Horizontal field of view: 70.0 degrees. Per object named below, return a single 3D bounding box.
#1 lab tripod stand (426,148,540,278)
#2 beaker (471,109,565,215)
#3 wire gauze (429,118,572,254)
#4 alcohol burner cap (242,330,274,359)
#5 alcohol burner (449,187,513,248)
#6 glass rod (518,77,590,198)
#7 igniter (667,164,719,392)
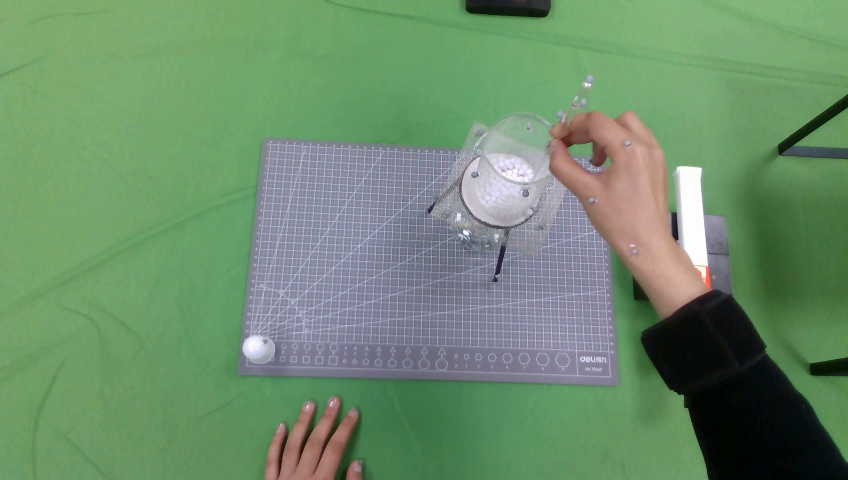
[{"bbox_3d":[0.078,-0.043,0.708,0.148,0.132,0.147,1,72,-4],"label":"lab tripod stand"},{"bbox_3d":[0.085,-0.072,0.598,0.084,0.101,0.073,2,72,-3],"label":"beaker"},{"bbox_3d":[0.085,-0.058,0.645,0.121,0.011,0.124,25,70,0],"label":"wire gauze"},{"bbox_3d":[-0.191,0.117,0.688,0.034,0.048,0.033,1,74,-5],"label":"alcohol burner cap"},{"bbox_3d":[0.069,-0.031,0.714,0.078,0.119,0.077,1,75,-3],"label":"alcohol burner"},{"bbox_3d":[0.110,-0.082,0.534,0.008,0.200,0.008,2,69,-5],"label":"glass rod"},{"bbox_3d":[0.314,0.039,0.714,0.057,0.025,0.275,4,73,0],"label":"igniter"}]
